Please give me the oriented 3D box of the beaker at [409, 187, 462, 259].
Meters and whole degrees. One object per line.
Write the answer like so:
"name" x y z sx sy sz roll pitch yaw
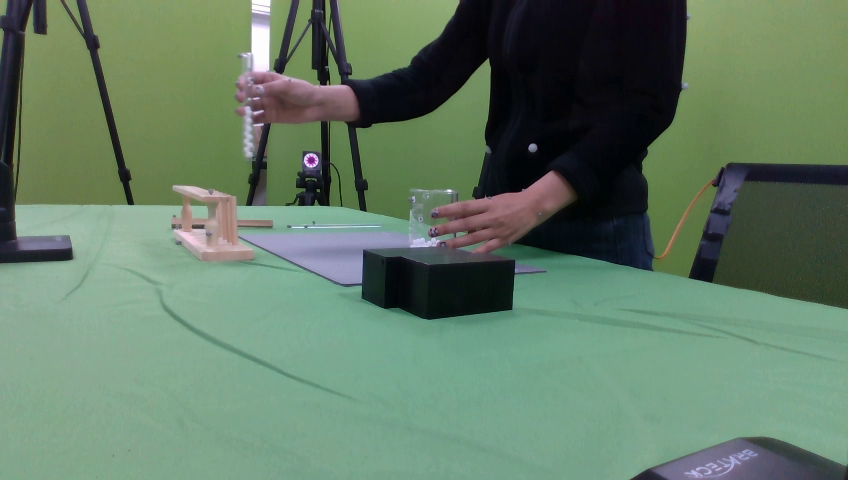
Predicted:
"beaker" 0.013 -0.027 0.884 0.074 0.100 0.083 -1 7 -23

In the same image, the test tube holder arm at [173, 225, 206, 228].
"test tube holder arm" -0.415 -0.030 1.113 0.088 0.015 0.010 -1 -23 -25

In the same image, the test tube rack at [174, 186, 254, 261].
"test tube rack" -0.314 -0.030 0.889 0.067 0.085 0.241 -2 8 -30

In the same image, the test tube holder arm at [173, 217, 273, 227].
"test tube holder arm" -0.371 -0.033 1.127 0.179 0.015 0.013 -1 -23 -25

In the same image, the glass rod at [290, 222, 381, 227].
"glass rod" -0.178 -0.033 1.247 0.201 0.008 0.008 -2 8 -30

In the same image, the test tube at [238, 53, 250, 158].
"test tube" -0.260 -0.194 0.874 0.017 0.150 0.017 0 2 0
